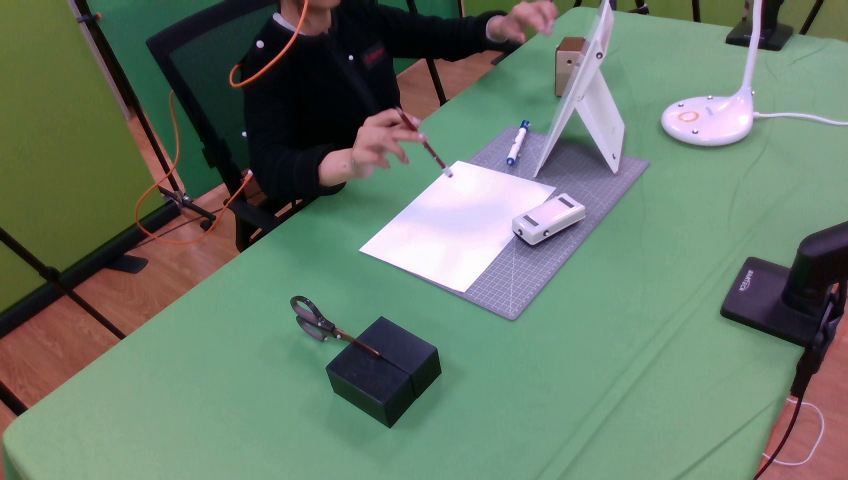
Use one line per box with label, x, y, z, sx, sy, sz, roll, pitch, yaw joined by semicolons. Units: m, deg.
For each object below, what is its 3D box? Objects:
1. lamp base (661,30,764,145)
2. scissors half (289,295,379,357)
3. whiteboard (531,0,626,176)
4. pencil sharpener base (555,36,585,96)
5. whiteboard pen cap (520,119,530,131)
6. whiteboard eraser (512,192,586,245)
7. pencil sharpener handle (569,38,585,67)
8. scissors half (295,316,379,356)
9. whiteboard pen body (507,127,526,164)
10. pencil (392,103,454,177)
lamp base;0.535;-0.287;1.096;0.179;0.181;0.159;-10;40;-4
scissors half;-0.122;0.114;0.803;0.174;0.040;0.013;26;49;32
whiteboard;0.320;-0.258;1.050;0.144;0.306;0.217;22;45;5
pencil sharpener base;0.317;-0.371;1.290;0.061;0.107;0.076;10;43;22
whiteboard pen cap;0.200;-0.226;1.204;0.018;0.018;0.033;6;42;17
whiteboard eraser;0.199;-0.032;0.962;0.113;0.042;0.055;-27;42;-20
pencil sharpener handle;0.332;-0.413;1.317;0.036;0.068;0.030;19;46;13
scissors half;-0.119;0.132;0.813;0.174;0.040;0.013;9;33;44
whiteboard pen body;0.181;-0.189;1.162;0.017;0.017;0.140;7;42;19
pencil;0.000;-0.146;0.897;0.012;0.196;0.012;-13;60;24
